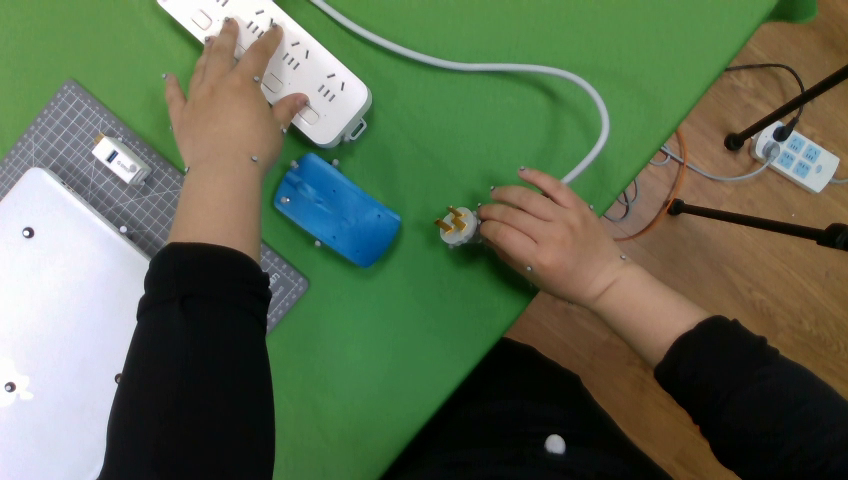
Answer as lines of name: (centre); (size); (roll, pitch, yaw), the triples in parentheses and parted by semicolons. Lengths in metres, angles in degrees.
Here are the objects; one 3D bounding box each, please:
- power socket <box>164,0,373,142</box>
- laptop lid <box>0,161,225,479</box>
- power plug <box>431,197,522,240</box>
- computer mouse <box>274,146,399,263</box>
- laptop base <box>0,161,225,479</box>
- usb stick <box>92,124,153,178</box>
power socket: (-0.143, -0.181, 0.552); (0.227, 0.032, 0.072); (42, 95, -1)
laptop lid: (-0.386, 0.130, 0.572); (0.242, 0.013, 0.356); (43, 93, -4)
power plug: (0.043, -0.029, 0.544); (0.072, 0.035, 0.053); (-46, 134, 17)
computer mouse: (-0.083, -0.033, 0.559); (0.117, 0.041, 0.063); (37, 96, 4)
laptop base: (-0.388, 0.128, 0.583); (0.236, 0.023, 0.354); (41, 93, -5)
usb stick: (-0.285, -0.084, 0.561); (0.059, 0.027, 0.021); (43, 96, -1)
